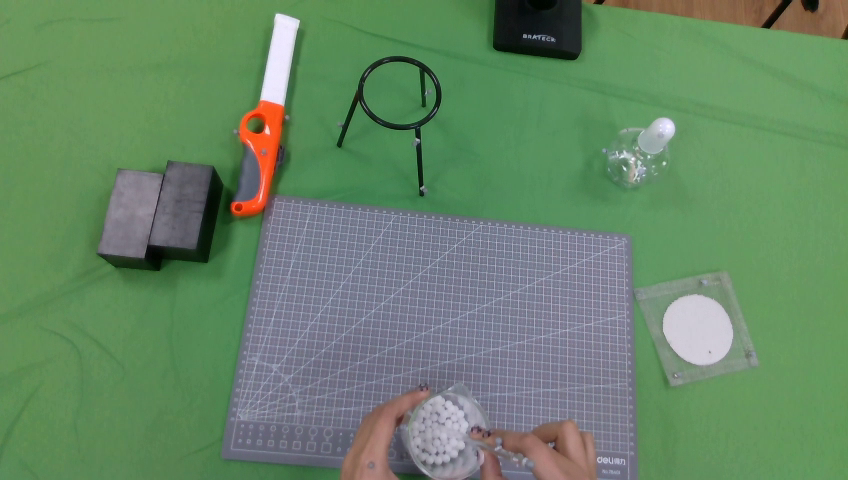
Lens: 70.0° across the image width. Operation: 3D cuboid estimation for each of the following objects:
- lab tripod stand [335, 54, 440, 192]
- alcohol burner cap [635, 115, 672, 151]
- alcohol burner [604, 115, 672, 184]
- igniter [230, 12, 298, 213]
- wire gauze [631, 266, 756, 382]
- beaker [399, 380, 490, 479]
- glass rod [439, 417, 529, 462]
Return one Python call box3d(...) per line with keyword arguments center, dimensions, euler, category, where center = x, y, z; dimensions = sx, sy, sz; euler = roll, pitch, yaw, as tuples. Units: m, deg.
box3d(center=(-0.033, -0.144, 0.704), dimensions=(0.148, 0.132, 0.147), euler=(2, 70, -4), category="lab tripod stand")
box3d(center=(0.270, -0.127, 0.704), dimensions=(0.034, 0.048, 0.033), euler=(1, 76, -2), category="alcohol burner cap")
box3d(center=(0.266, -0.116, 0.738), dimensions=(0.078, 0.119, 0.077), euler=(2, 70, -5), category="alcohol burner")
box3d(center=(-0.194, -0.159, 0.747), dimensions=(0.057, 0.025, 0.275), euler=(12, 71, -18), category="igniter")
box3d(center=(0.327, 0.100, 0.732), dimensions=(0.125, 0.011, 0.120), euler=(-11, 74, -7), category="wire gauze")
box3d(center=(0.016, 0.174, 0.569), dimensions=(0.074, 0.100, 0.083), euler=(16, 74, -4), category="beaker")
box3d(center=(0.045, 0.166, 0.514), dimensions=(0.008, 0.199, 0.008), euler=(2, 81, -15), category="glass rod")
